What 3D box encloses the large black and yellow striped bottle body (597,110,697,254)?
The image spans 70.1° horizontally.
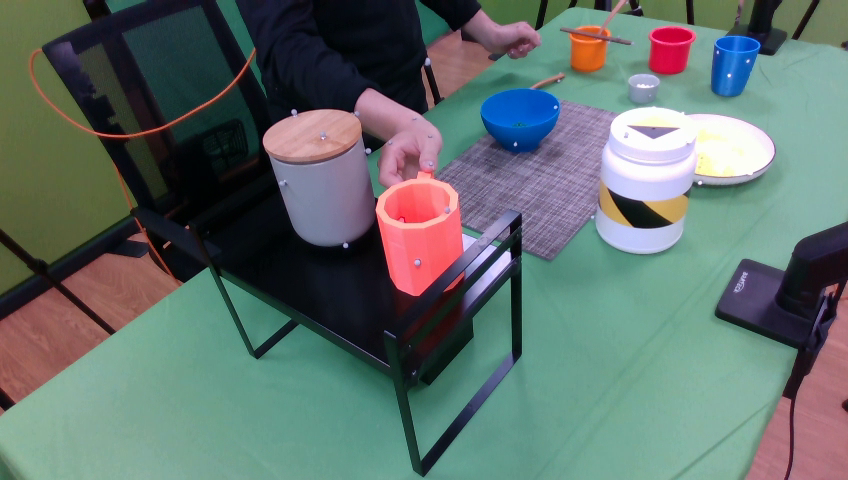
[{"bbox_3d":[0.331,-0.086,0.904,0.131,0.185,0.130,-5,41,4],"label":"large black and yellow striped bottle body"}]

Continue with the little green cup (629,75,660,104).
[{"bbox_3d":[0.457,-0.314,1.260,0.061,0.039,0.061,-4,40,4],"label":"little green cup"}]

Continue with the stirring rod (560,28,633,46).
[{"bbox_3d":[0.382,-0.453,1.345,0.174,0.006,0.014,26,53,34],"label":"stirring rod"}]

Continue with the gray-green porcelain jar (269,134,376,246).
[{"bbox_3d":[-0.115,-0.064,0.715,0.106,0.127,0.105,-4,40,4],"label":"gray-green porcelain jar"}]

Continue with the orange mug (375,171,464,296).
[{"bbox_3d":[-0.001,-0.016,0.662,0.083,0.101,0.125,-1,45,8],"label":"orange mug"}]

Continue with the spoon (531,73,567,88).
[{"bbox_3d":[0.249,-0.336,1.332,0.194,0.022,0.041,-32,32,-25],"label":"spoon"}]

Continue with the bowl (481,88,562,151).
[{"bbox_3d":[0.187,-0.223,1.162,0.151,0.077,0.150,-4,40,4],"label":"bowl"}]

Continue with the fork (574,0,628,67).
[{"bbox_3d":[0.413,-0.481,1.377,0.207,0.019,0.028,-56,43,12],"label":"fork"}]

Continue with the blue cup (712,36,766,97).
[{"bbox_3d":[0.627,-0.350,1.227,0.092,0.100,0.092,-4,39,4],"label":"blue cup"}]

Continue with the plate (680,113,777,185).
[{"bbox_3d":[0.506,-0.158,1.073,0.209,0.038,0.208,-4,40,4],"label":"plate"}]

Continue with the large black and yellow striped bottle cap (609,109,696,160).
[{"bbox_3d":[0.320,-0.150,0.849,0.115,0.019,0.114,-4,39,3],"label":"large black and yellow striped bottle cap"}]

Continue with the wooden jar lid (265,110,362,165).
[{"bbox_3d":[-0.122,-0.112,0.673,0.108,0.021,0.108,-4,37,4],"label":"wooden jar lid"}]
